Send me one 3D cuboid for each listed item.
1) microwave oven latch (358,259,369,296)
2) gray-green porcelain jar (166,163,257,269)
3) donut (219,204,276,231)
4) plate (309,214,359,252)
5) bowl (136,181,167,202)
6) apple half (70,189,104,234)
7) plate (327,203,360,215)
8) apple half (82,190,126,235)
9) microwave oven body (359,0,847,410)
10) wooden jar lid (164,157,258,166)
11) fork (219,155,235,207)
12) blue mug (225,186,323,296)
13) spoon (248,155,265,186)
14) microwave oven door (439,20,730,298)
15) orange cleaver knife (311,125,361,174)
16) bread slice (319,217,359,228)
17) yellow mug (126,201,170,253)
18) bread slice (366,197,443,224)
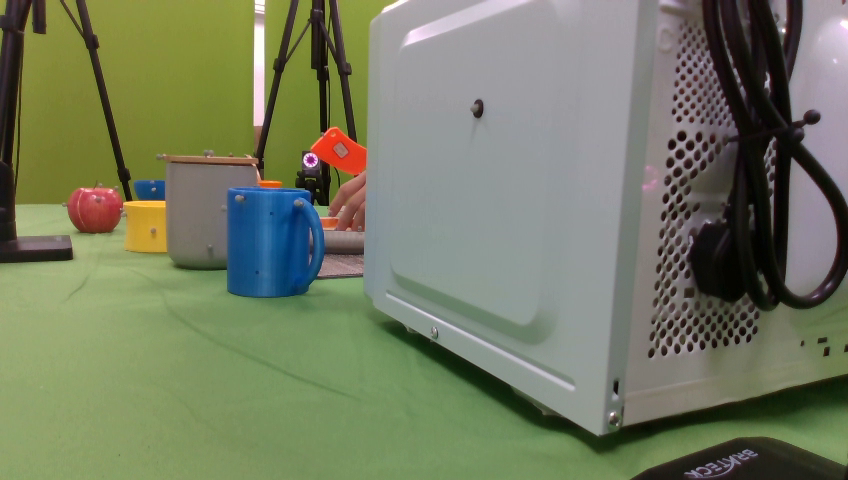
[{"bbox_3d":[-0.018,0.031,0.529,0.079,0.029,0.030,-1,7,-26],"label":"microwave oven latch"},{"bbox_3d":[-0.263,-0.031,0.754,0.106,0.126,0.106,2,7,0],"label":"gray-green porcelain jar"},{"bbox_3d":[-0.316,-0.039,1.083,0.099,0.048,0.099,2,7,0],"label":"donut"},{"bbox_3d":[-0.130,-0.012,0.945,0.208,0.039,0.207,2,8,0],"label":"plate"},{"bbox_3d":[-0.497,-0.076,1.221,0.151,0.077,0.151,2,8,0],"label":"bowl"},{"bbox_3d":[-0.552,-0.048,1.010,0.053,0.074,0.081,-1,10,26],"label":"apple half"},{"bbox_3d":[-0.102,-0.053,1.299,0.209,0.038,0.209,2,8,0],"label":"plate"},{"bbox_3d":[-0.516,-0.046,0.994,0.032,0.081,0.081,0,6,26],"label":"apple half"},{"bbox_3d":[0.210,-0.051,0.471,0.444,0.260,0.324,-1,7,-28],"label":"microwave oven body"},{"bbox_3d":[-0.261,-0.093,0.746,0.108,0.020,0.108,0,9,0],"label":"wooden jar lid"},{"bbox_3d":[-0.459,-0.134,1.415,0.028,0.018,0.207,-1,-34,-24],"label":"fork"},{"bbox_3d":[-0.148,0.000,0.618,0.116,0.106,0.083,7,9,33],"label":"blue mug"},{"bbox_3d":[-0.417,-0.150,1.543,0.042,0.193,0.021,-3,-36,-34],"label":"spoon"},{"bbox_3d":[0.181,-0.076,0.618,0.358,0.243,0.039,-2,8,-28],"label":"microwave oven door"},{"bbox_3d":[-0.131,-0.170,1.219,0.212,0.077,0.012,17,23,-45],"label":"orange cleaver knife"},{"bbox_3d":[-0.125,-0.019,0.938,0.131,0.019,0.105,-1,-10,33],"label":"bread slice"},{"bbox_3d":[-0.361,-0.019,0.866,0.130,0.064,0.100,7,9,27],"label":"yellow mug"},{"bbox_3d":[-0.043,-0.055,1.136,0.107,0.018,0.133,-5,-9,-39],"label":"bread slice"}]
